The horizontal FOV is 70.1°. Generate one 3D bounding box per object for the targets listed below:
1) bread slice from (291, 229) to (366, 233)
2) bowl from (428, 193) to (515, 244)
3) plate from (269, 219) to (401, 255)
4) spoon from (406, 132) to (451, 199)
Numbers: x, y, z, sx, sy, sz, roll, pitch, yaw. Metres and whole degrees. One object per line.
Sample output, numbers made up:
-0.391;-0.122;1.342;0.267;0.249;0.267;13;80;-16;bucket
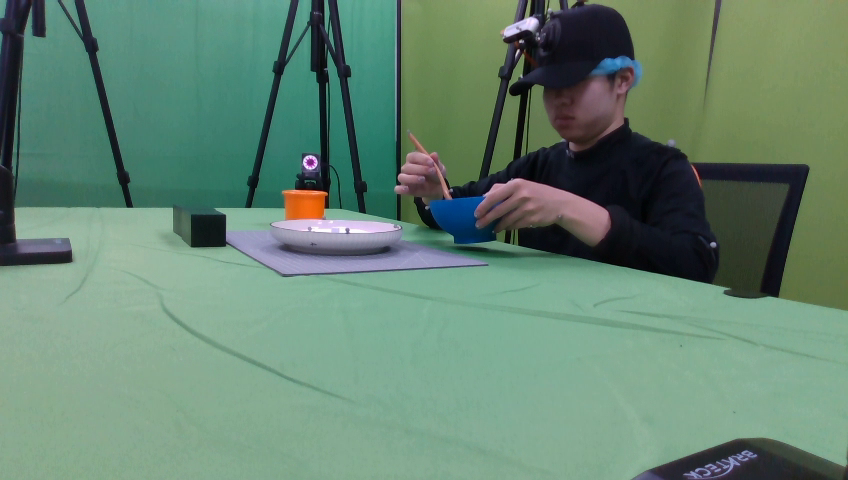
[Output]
-0.143;-0.003;0.953;0.135;0.018;0.106;-1;8;-37;bread slice
0.083;-0.036;1.033;0.151;0.077;0.151;-5;4;1;bowl
-0.140;-0.006;0.958;0.209;0.038;0.209;3;7;0;plate
0.021;-0.117;1.057;0.021;0.193;0.042;-33;-19;10;spoon
